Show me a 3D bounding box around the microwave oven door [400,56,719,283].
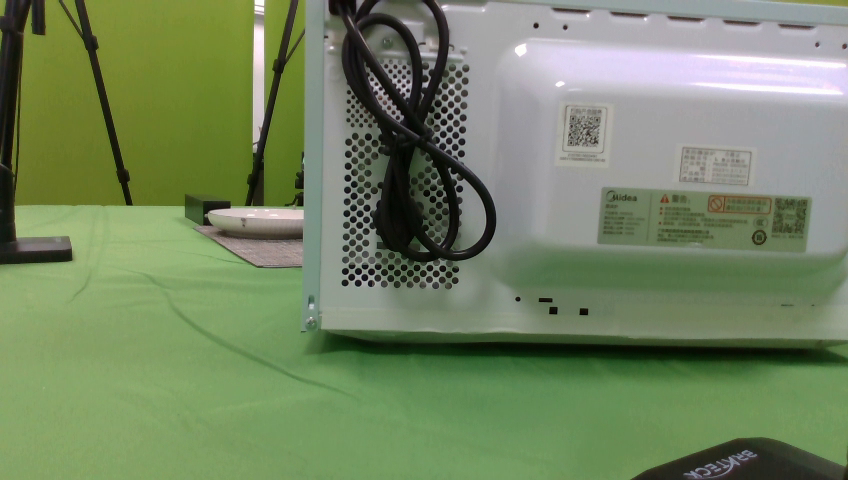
[{"bbox_3d":[0.155,-0.078,0.698,0.356,0.243,0.039,2,8,-5],"label":"microwave oven door"}]

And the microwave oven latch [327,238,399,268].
[{"bbox_3d":[-0.069,0.015,0.694,0.079,0.029,0.030,3,7,-3],"label":"microwave oven latch"}]

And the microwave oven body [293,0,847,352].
[{"bbox_3d":[0.122,-0.055,0.550,0.442,0.260,0.325,3,7,-5],"label":"microwave oven body"}]

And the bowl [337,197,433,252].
[{"bbox_3d":[-0.062,-0.025,0.955,0.151,0.077,0.151,3,7,0],"label":"bowl"}]

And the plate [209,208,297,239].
[{"bbox_3d":[-0.271,-0.029,1.074,0.208,0.039,0.207,3,7,0],"label":"plate"}]
